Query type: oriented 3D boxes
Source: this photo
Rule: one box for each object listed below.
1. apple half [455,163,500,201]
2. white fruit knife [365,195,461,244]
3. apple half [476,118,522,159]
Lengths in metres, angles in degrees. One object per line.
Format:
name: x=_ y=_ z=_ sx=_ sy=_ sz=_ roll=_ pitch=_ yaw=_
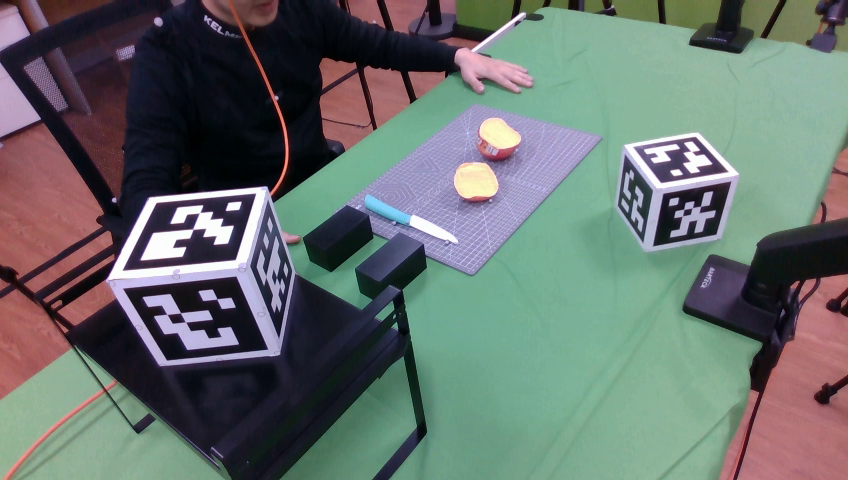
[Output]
apple half: x=0.090 y=-0.096 z=1.053 sx=0.081 sy=0.033 sz=0.081 roll=3 pitch=58 yaw=-4
white fruit knife: x=-0.023 y=-0.033 z=1.012 sx=0.206 sy=0.016 sz=0.027 roll=24 pitch=62 yaw=30
apple half: x=0.136 y=-0.182 z=1.133 sx=0.080 sy=0.053 sz=0.075 roll=40 pitch=52 yaw=14
